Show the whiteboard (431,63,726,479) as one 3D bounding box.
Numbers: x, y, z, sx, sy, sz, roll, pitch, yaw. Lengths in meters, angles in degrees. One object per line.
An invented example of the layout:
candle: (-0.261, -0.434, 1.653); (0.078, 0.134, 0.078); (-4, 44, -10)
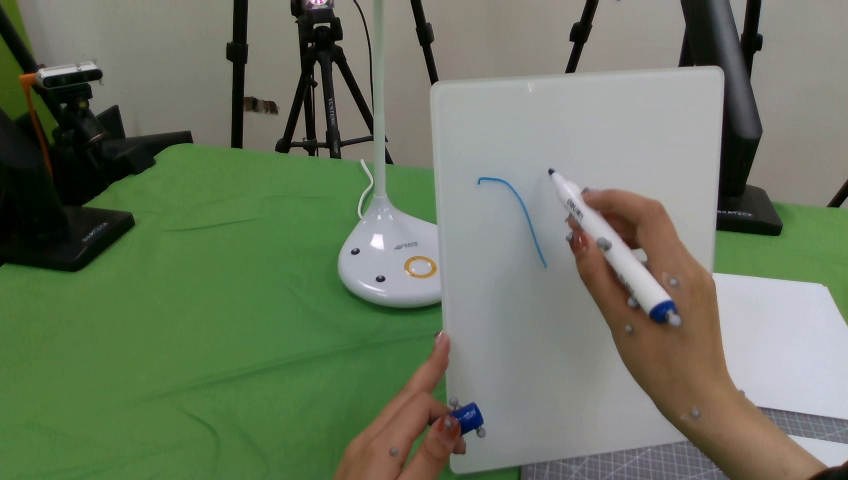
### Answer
whiteboard: (0.111, 0.015, 0.520); (0.217, 0.306, 0.143); (-5, 14, -7)

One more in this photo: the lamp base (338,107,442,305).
lamp base: (-0.027, -0.046, 0.677); (0.161, 0.181, 0.177); (-21, 36, -29)

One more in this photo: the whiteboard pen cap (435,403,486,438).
whiteboard pen cap: (0.025, 0.118, 0.399); (0.033, 0.018, 0.018); (-26, 23, 26)

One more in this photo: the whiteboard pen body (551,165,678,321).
whiteboard pen body: (0.113, -0.005, 0.379); (0.017, 0.017, 0.139); (-10, 46, -16)
